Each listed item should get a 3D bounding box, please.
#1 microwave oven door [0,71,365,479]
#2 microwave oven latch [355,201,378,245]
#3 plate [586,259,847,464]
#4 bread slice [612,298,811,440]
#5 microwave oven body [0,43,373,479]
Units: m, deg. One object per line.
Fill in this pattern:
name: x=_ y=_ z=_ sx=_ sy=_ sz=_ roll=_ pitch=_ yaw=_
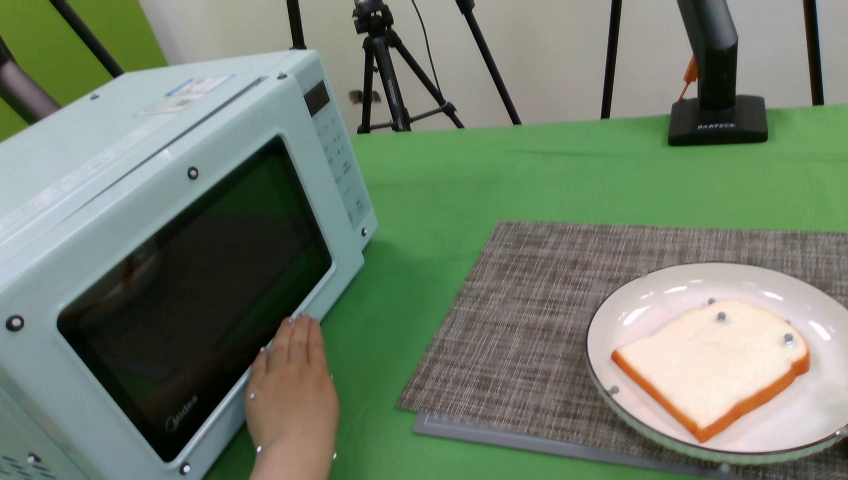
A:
microwave oven door: x=-0.181 y=0.033 z=0.543 sx=0.039 sy=0.246 sz=0.354 roll=3 pitch=38 yaw=27
microwave oven latch: x=-0.085 y=-0.016 z=0.760 sx=0.030 sy=0.030 sz=0.079 roll=3 pitch=39 yaw=26
plate: x=0.238 y=0.092 z=0.488 sx=0.209 sy=0.038 sz=0.207 roll=-12 pitch=33 yaw=8
bread slice: x=0.236 y=0.092 z=0.491 sx=0.131 sy=0.019 sz=0.103 roll=-25 pitch=34 yaw=-13
microwave oven body: x=-0.304 y=0.009 z=0.640 sx=0.324 sy=0.263 sz=0.439 roll=2 pitch=38 yaw=25
